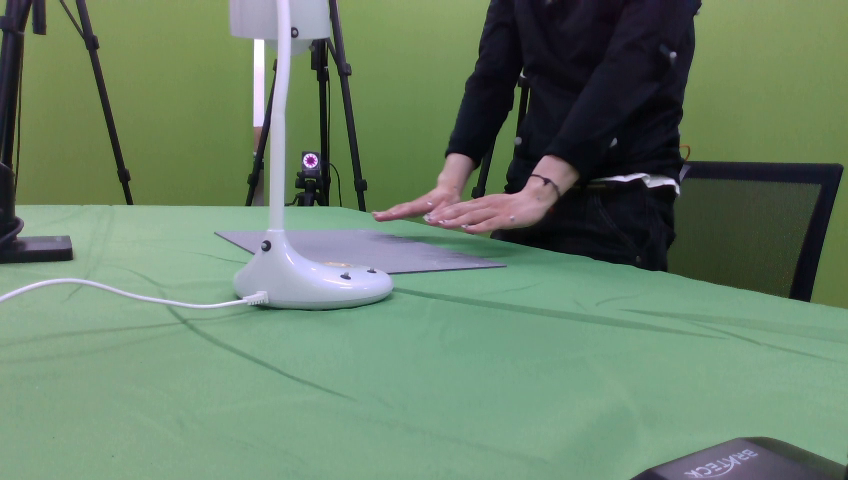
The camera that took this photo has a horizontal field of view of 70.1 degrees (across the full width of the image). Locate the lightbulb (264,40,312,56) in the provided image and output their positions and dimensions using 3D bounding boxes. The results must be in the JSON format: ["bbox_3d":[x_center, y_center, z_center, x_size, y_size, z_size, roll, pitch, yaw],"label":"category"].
[{"bbox_3d":[-0.156,-0.261,0.673,0.059,0.107,0.059,-3,23,2],"label":"lightbulb"}]

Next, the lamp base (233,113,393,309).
[{"bbox_3d":[-0.113,-0.032,0.595,0.160,0.180,0.179,4,10,18],"label":"lamp base"}]

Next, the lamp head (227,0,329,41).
[{"bbox_3d":[-0.161,-0.280,0.657,0.112,0.123,0.112,2,29,-1],"label":"lamp head"}]
